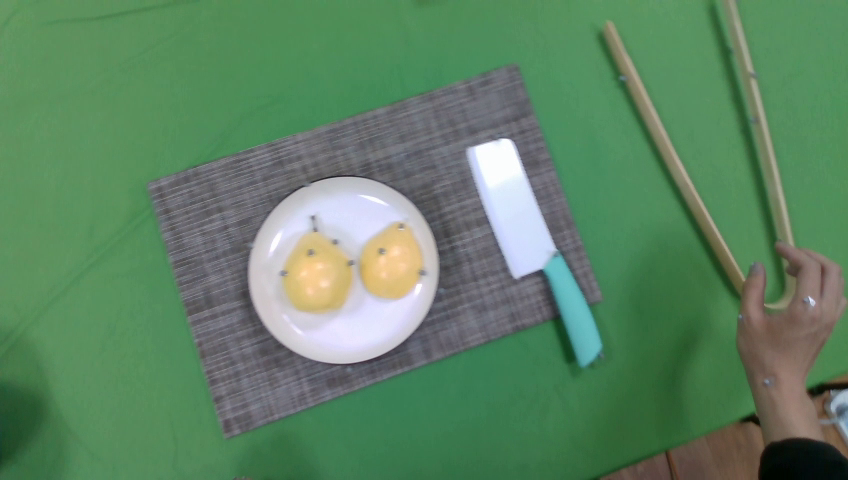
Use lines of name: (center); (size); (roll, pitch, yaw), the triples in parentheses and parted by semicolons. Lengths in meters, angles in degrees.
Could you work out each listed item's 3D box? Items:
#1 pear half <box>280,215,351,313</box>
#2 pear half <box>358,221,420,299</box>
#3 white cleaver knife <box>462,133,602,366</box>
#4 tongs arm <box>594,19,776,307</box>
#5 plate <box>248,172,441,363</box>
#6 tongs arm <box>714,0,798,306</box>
pear half: (-0.120, 0.024, 0.658); (0.076, 0.056, 0.109); (-9, 80, -7)
pear half: (-0.038, 0.022, 0.670); (0.070, 0.031, 0.088); (13, 88, -5)
white cleaver knife: (0.122, 0.010, 0.696); (0.066, 0.021, 0.285); (-24, 82, 4)
tongs arm: (0.297, -0.090, 0.709); (0.028, 0.028, 0.386); (-27, 85, -6)
plate: (-0.086, 0.030, 0.672); (0.208, 0.039, 0.207); (0, 84, -2)
tongs arm: (0.374, -0.116, 0.710); (0.051, 0.026, 0.384); (-14, 85, -2)
